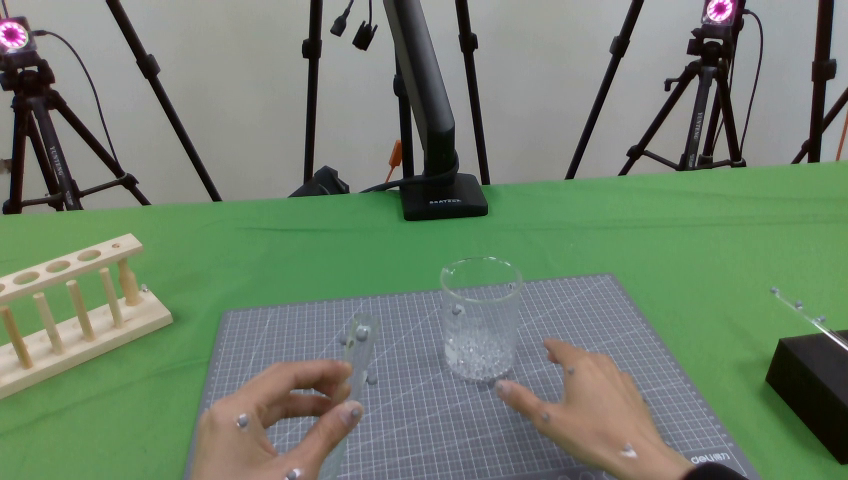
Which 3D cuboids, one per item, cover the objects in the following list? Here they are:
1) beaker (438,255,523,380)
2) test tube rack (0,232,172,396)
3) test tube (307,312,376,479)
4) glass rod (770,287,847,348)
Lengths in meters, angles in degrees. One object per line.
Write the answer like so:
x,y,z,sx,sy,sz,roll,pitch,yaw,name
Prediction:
0.048,0.073,0.569,0.083,0.101,0.074,25,39,37,beaker
-0.383,0.082,0.583,0.243,0.086,0.066,-26,40,-35,test tube rack
-0.053,0.111,0.362,0.017,0.151,0.017,15,19,-5,test tube
0.374,0.096,0.520,0.008,0.008,0.197,-10,32,-14,glass rod
